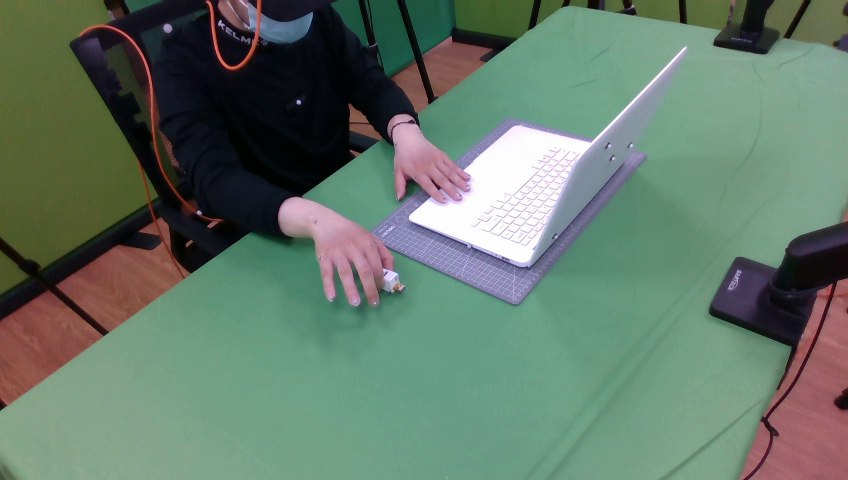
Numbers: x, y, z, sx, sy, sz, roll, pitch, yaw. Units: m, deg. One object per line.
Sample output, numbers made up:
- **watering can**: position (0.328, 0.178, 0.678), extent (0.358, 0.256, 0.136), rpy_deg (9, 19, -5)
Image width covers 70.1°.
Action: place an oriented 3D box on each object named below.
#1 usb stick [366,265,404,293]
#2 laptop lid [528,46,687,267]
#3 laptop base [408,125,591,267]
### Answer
- **usb stick**: position (-0.056, 0.060, 0.899), extent (0.059, 0.027, 0.021), rpy_deg (21, 38, 24)
- **laptop lid**: position (0.277, -0.126, 0.903), extent (0.013, 0.242, 0.358), rpy_deg (35, 53, 17)
- **laptop base**: position (0.168, -0.092, 1.053), extent (0.233, 0.023, 0.355), rpy_deg (21, 47, 33)
